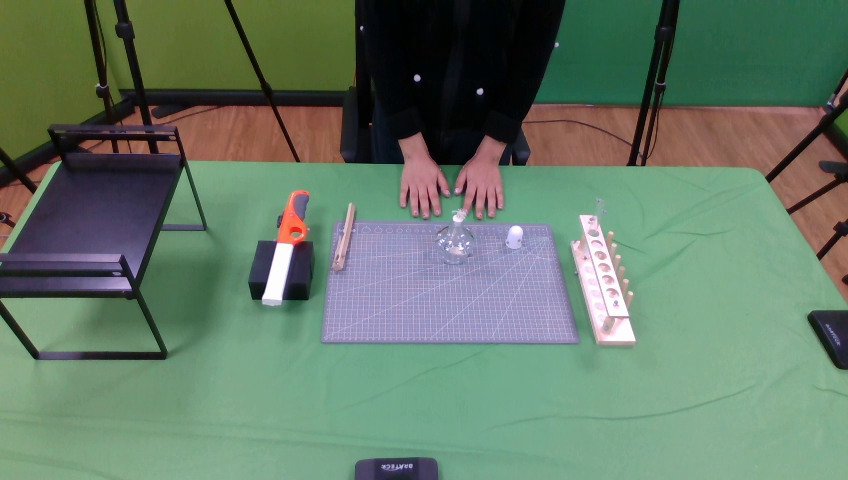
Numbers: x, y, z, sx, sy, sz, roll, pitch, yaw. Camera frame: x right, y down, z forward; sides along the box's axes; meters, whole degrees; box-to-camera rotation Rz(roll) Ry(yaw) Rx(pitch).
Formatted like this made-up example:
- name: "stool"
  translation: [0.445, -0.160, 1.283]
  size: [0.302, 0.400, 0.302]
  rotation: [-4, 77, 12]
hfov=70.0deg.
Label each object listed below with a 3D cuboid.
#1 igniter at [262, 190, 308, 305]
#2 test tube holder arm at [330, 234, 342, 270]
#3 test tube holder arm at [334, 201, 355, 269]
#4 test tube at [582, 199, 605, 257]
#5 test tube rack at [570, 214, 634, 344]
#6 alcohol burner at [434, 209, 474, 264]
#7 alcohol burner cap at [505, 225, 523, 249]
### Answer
- name: "igniter"
  translation: [-0.252, 0.004, 1.107]
  size: [0.057, 0.025, 0.275]
  rotation: [7, 47, -6]
- name: "test tube holder arm"
  translation: [-0.164, 0.021, 1.163]
  size: [0.010, 0.015, 0.087]
  rotation: [-15, 43, 23]
- name: "test tube holder arm"
  translation: [-0.155, -0.013, 1.191]
  size: [0.013, 0.015, 0.177]
  rotation: [-15, 42, 23]
- name: "test tube"
  translation: [0.314, -0.019, 1.129]
  size: [0.017, 0.151, 0.017]
  rotation: [0, 48, 1]
- name: "test tube rack"
  translation: [0.333, 0.067, 1.116]
  size: [0.067, 0.085, 0.241]
  rotation: [1, 46, -4]
- name: "alcohol burner"
  translation: [0.058, -0.011, 1.147]
  size: [0.078, 0.119, 0.077]
  rotation: [3, 44, -3]
- name: "alcohol burner cap"
  translation: [0.180, -0.009, 1.203]
  size: [0.034, 0.048, 0.033]
  rotation: [2, 46, -2]
